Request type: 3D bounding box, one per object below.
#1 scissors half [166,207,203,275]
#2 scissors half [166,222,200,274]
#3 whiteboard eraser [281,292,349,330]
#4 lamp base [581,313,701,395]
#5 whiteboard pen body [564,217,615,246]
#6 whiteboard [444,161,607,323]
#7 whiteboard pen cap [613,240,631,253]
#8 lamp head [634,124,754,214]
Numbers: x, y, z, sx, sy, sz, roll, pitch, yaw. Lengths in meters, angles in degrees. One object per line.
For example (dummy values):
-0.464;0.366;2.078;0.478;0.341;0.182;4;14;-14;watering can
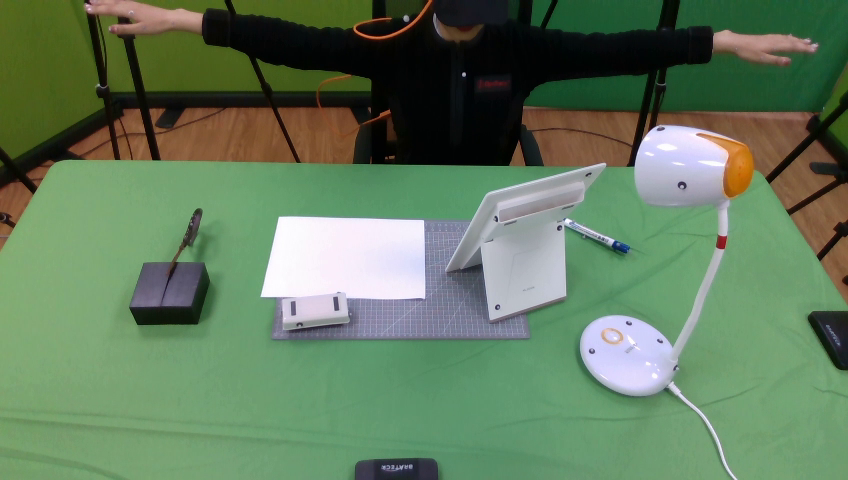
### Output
-0.436;0.000;1.104;0.013;0.040;0.174;21;44;-14;scissors half
-0.444;0.014;1.116;0.013;0.040;0.174;17;27;-10;scissors half
-0.189;0.124;1.045;0.113;0.042;0.055;-6;46;-10;whiteboard eraser
0.361;0.144;0.972;0.178;0.181;0.160;34;53;23;lamp base
0.346;-0.013;1.233;0.140;0.017;0.017;29;51;26;whiteboard pen body
0.186;0.025;1.029;0.217;0.306;0.143;-14;68;-18;whiteboard
0.393;0.012;1.207;0.033;0.018;0.018;27;50;28;whiteboard pen cap
0.351;-0.089;0.775;0.112;0.113;0.122;-30;30;-28;lamp head
